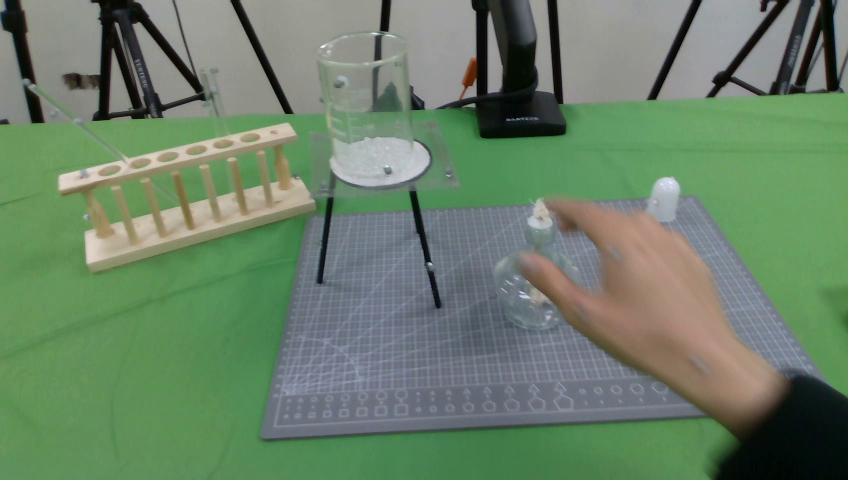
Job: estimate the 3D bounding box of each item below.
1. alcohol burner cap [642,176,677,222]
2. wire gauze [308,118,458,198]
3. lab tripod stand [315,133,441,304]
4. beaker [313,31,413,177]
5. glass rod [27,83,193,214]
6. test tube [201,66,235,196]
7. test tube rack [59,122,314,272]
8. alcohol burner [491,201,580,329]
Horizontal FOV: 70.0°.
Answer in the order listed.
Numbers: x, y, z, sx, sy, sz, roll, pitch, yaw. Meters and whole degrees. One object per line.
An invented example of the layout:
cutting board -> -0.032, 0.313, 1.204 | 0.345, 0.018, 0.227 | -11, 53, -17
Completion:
alcohol burner cap -> 0.260, -0.048, 0.664 | 0.034, 0.048, 0.033 | -1, 37, 1
wire gauze -> -0.041, -0.072, 0.529 | 0.125, 0.011, 0.120 | -9, 36, -3
lab tripod stand -> -0.038, -0.021, 0.569 | 0.148, 0.133, 0.147 | -2, 39, 2
beaker -> -0.048, -0.110, 0.498 | 0.083, 0.101, 0.074 | 16, 41, 25
glass rod -> -0.313, -0.085, 0.621 | 0.008, 0.202, 0.008 | -20, 46, 22
test tube -> -0.221, -0.115, 0.665 | 0.017, 0.151, 0.017 | -1, 35, 1
test tube rack -> -0.252, -0.052, 0.666 | 0.243, 0.086, 0.066 | -18, 40, -19
alcohol burner -> 0.098, 0.018, 0.527 | 0.078, 0.120, 0.077 | -2, 36, 2
